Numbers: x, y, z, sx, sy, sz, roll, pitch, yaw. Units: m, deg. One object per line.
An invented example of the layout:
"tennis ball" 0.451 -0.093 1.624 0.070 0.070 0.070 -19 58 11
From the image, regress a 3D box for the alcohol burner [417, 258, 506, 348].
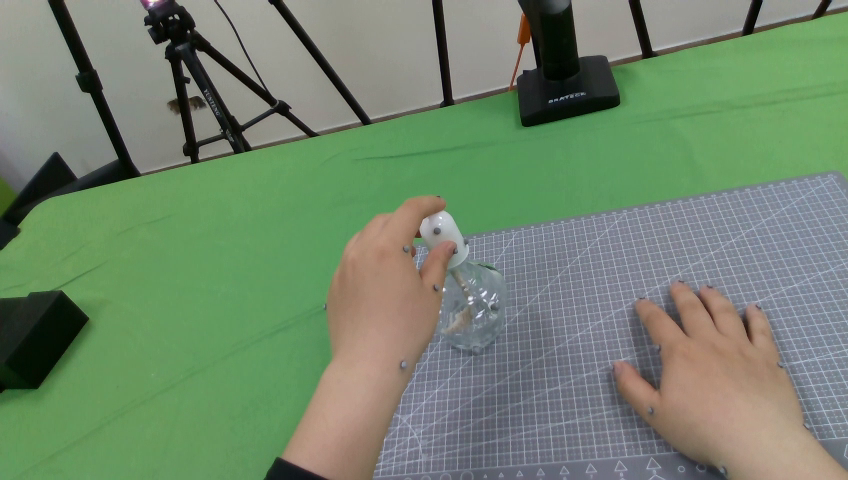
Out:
"alcohol burner" 0.027 0.035 0.503 0.078 0.120 0.077 -11 42 10

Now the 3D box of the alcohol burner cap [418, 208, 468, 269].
"alcohol burner cap" 0.013 -0.004 0.468 0.034 0.048 0.033 -12 46 13
